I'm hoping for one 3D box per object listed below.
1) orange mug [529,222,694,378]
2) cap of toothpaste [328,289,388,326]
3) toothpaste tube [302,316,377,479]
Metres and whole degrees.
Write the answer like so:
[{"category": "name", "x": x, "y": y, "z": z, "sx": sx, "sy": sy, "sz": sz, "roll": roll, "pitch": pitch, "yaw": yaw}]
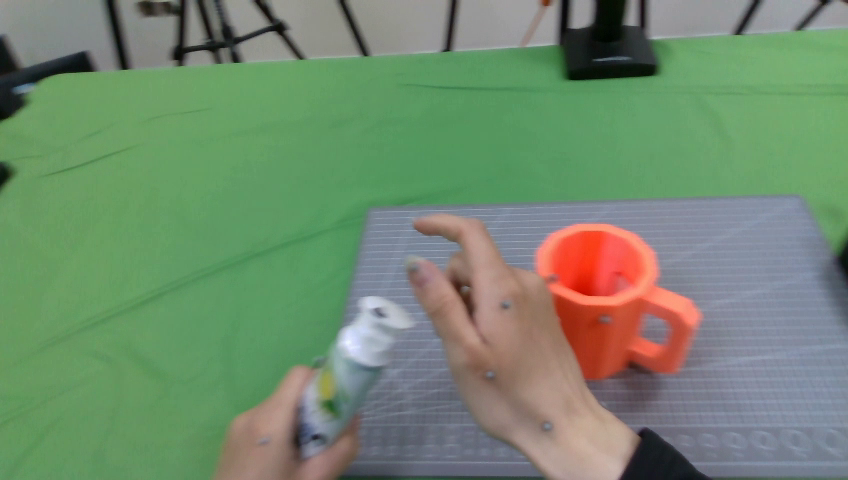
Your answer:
[{"category": "orange mug", "x": 0.142, "y": 0.054, "z": 0.476, "sx": 0.125, "sy": 0.102, "sz": 0.083, "roll": 20, "pitch": 51, "yaw": 31}, {"category": "cap of toothpaste", "x": -0.040, "y": 0.041, "z": 0.357, "sx": 0.037, "sy": 0.011, "sz": 0.037, "roll": 16, "pitch": 14, "yaw": -4}, {"category": "toothpaste tube", "x": -0.062, "y": 0.108, "z": 0.402, "sx": 0.035, "sy": 0.166, "sz": 0.054, "roll": 3, "pitch": 35, "yaw": -24}]
